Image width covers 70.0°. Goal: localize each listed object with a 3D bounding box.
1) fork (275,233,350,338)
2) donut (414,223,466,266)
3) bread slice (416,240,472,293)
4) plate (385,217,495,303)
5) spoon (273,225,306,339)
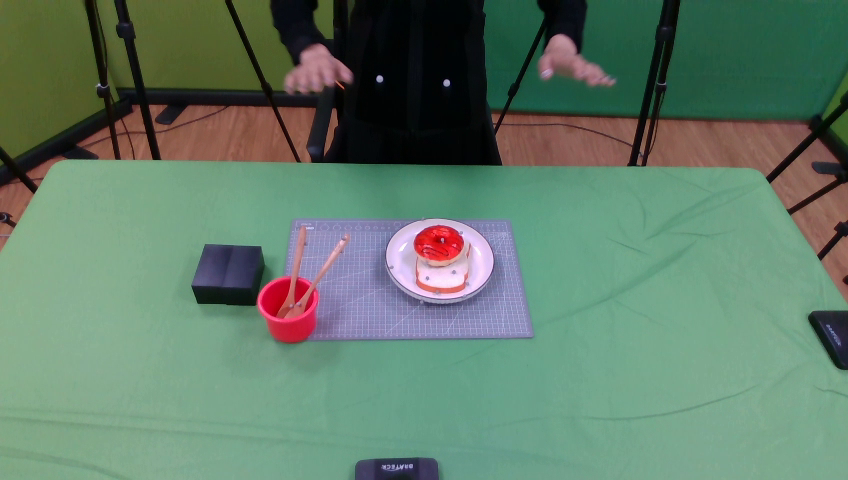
[{"bbox_3d":[-0.184,0.075,1.014,0.028,0.019,0.207,35,95,14],"label":"fork"},{"bbox_3d":[0.030,0.007,1.140,0.099,0.048,0.098,0,43,0],"label":"donut"},{"bbox_3d":[0.037,0.045,1.143,0.105,0.019,0.131,4,46,2],"label":"bread slice"},{"bbox_3d":[0.030,0.040,1.145,0.209,0.038,0.208,2,46,-2],"label":"plate"},{"bbox_3d":[-0.220,0.070,1.026,0.041,0.021,0.193,10,91,-1],"label":"spoon"}]
